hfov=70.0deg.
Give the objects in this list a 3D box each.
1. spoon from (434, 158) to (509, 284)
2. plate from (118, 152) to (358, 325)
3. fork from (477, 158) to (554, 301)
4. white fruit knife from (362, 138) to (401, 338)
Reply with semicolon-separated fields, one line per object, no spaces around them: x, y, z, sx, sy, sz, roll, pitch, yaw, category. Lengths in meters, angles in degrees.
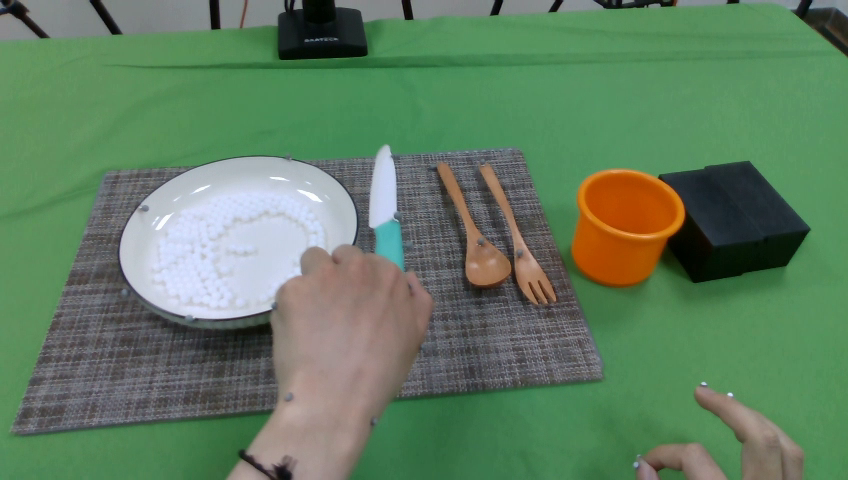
0.039;-0.026;0.595;0.041;0.022;0.191;-21;48;3;spoon
-0.164;-0.003;0.555;0.209;0.038;0.207;1;46;-1;plate
0.082;-0.018;0.591;0.028;0.019;0.205;-12;49;-5;fork
-0.032;-0.013;0.472;0.027;0.016;0.205;-2;49;-2;white fruit knife
